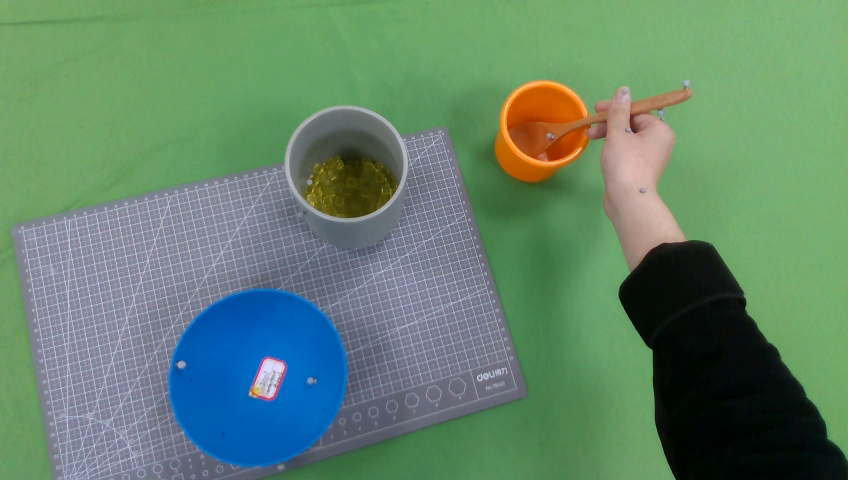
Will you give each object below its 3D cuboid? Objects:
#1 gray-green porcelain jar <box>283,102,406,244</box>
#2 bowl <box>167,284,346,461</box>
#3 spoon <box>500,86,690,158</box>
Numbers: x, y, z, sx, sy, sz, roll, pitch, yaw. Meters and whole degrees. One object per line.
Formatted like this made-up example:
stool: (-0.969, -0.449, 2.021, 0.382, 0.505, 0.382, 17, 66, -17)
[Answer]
gray-green porcelain jar: (-0.071, -0.055, 0.573, 0.106, 0.127, 0.105, 1, 78, -5)
bowl: (-0.146, 0.120, 0.556, 0.151, 0.077, 0.150, 1, 78, -5)
spoon: (0.160, -0.117, 0.595, 0.022, 0.193, 0.041, 10, 74, -47)
